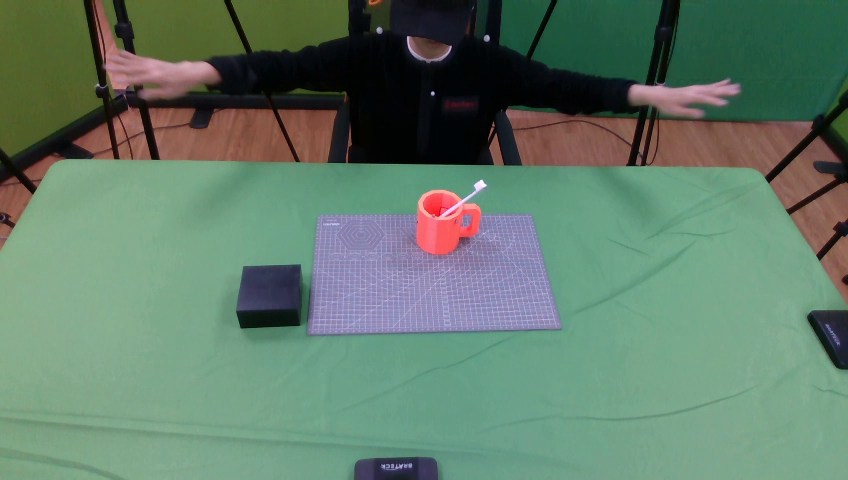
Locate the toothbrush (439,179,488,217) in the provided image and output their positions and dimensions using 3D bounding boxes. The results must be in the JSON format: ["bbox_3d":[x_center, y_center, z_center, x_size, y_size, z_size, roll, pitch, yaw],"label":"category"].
[{"bbox_3d":[0.053,-0.061,1.147,0.016,0.182,0.014,56,37,5],"label":"toothbrush"}]

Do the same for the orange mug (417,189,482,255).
[{"bbox_3d":[0.049,-0.037,1.176,0.126,0.101,0.083,-7,46,-4],"label":"orange mug"}]
